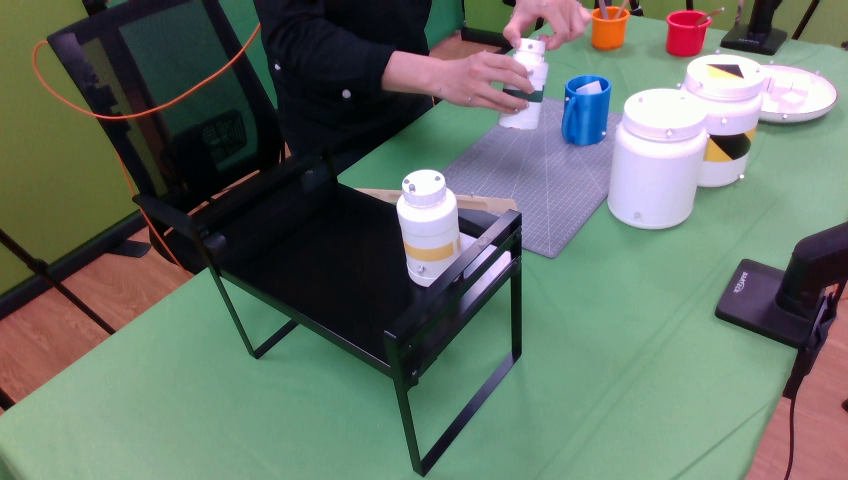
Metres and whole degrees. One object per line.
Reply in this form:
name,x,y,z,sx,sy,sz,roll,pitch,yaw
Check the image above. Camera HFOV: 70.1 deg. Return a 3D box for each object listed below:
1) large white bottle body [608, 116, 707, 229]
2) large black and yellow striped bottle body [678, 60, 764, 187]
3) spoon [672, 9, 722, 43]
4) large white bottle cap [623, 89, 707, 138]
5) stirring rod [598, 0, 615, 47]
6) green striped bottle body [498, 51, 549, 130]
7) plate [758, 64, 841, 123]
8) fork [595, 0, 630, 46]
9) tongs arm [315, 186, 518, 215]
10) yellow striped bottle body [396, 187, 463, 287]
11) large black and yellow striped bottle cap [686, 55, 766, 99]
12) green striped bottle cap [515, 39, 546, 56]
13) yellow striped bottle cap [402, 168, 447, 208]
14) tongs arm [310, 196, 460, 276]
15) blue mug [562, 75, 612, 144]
large white bottle body,0.361,-0.124,0.942,0.130,0.185,0.130,-4,41,4
large black and yellow striped bottle body,0.482,-0.196,1.008,0.131,0.185,0.130,-4,41,4
spoon,0.606,-0.476,1.345,0.042,0.021,0.193,-6,-3,-2
large white bottle cap,0.352,-0.187,0.886,0.115,0.018,0.114,-4,41,4
stirring rod,0.437,-0.551,1.462,0.014,0.006,0.175,-11,83,1
green striped bottle body,0.150,-0.230,0.909,0.063,0.119,0.063,6,21,-2
plate,0.695,-0.283,1.189,0.207,0.039,0.206,-4,40,4
fork,0.479,-0.556,1.452,0.028,0.019,0.207,41,103,40
tongs arm,-0.028,-0.060,0.988,0.382,0.027,0.051,10,45,36
yellow striped bottle body,0.006,-0.013,0.638,0.063,0.121,0.062,-5,41,5
large black and yellow striped bottle cap,0.474,-0.258,0.952,0.115,0.019,0.114,-5,41,5
green striped bottle cap,0.156,-0.283,0.888,0.044,0.020,0.044,7,17,-2
yellow striped bottle cap,0.000,-0.052,0.604,0.044,0.019,0.044,-5,43,5
tongs arm,-0.078,-0.012,0.944,0.028,0.028,0.384,-43,39,-22
blue mug,0.298,-0.239,1.143,0.081,0.106,0.117,30,54,36
